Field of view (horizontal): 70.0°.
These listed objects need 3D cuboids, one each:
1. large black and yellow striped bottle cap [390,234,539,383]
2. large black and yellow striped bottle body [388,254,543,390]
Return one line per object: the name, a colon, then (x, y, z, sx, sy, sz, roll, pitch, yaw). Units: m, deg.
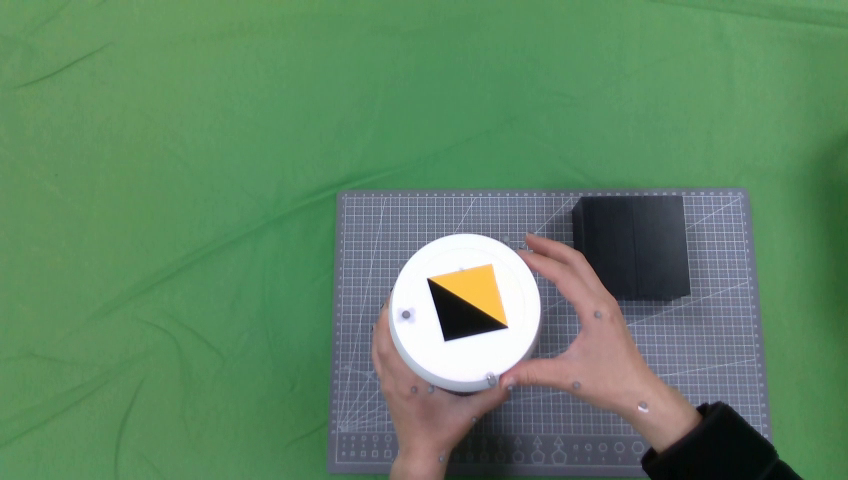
large black and yellow striped bottle cap: (0.031, 0.052, 0.467, 0.115, 0.019, 0.114, 0, 80, 3)
large black and yellow striped bottle body: (0.036, 0.070, 0.552, 0.131, 0.185, 0.130, 0, 78, 2)
